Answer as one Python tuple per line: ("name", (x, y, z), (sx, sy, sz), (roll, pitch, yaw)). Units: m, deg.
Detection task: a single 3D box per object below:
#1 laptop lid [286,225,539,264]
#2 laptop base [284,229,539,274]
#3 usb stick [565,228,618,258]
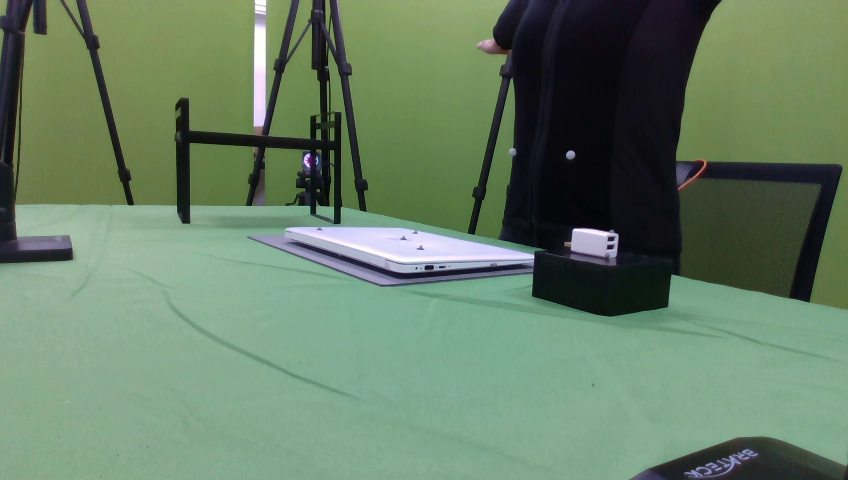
("laptop lid", (-0.032, 0.002, 0.898), (0.243, 0.013, 0.355), (0, 8, -34))
("laptop base", (-0.034, 0.013, 0.898), (0.237, 0.023, 0.352), (1, 7, -36))
("usb stick", (0.175, 0.002, 0.642), (0.021, 0.027, 0.059), (-5, 8, -34))
